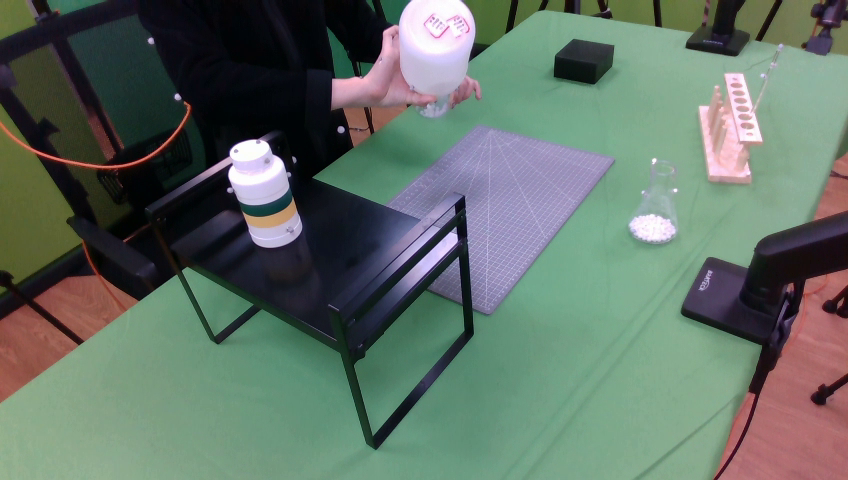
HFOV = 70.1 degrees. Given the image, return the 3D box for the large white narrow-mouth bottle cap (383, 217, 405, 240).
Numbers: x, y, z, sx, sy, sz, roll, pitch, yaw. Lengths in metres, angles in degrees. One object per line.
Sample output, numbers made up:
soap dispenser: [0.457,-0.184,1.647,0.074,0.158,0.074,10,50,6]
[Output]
large white narrow-mouth bottle cap: [-0.051,-0.019,1.003,0.038,0.024,0.037,-4,39,4]

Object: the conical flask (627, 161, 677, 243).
conical flask: [0.355,-0.061,0.921,0.075,0.122,0.075,-4,41,4]

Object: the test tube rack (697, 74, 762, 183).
test tube rack: [0.547,-0.208,1.095,0.066,0.085,0.242,5,42,15]

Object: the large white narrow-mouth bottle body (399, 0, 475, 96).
large white narrow-mouth bottle body: [0.017,-0.268,0.885,0.102,0.195,0.101,0,80,-1]

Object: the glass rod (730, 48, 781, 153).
glass rod: [0.554,-0.228,1.015,0.008,0.200,0.008,1,44,-1]

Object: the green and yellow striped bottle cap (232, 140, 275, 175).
green and yellow striped bottle cap: [-0.192,-0.093,0.680,0.045,0.020,0.045,-5,39,5]

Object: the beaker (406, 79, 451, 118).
beaker: [0.014,-0.256,1.030,0.084,0.100,0.074,-5,83,0]

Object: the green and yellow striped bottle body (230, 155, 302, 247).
green and yellow striped bottle body: [-0.188,-0.055,0.714,0.063,0.120,0.063,-4,41,4]
